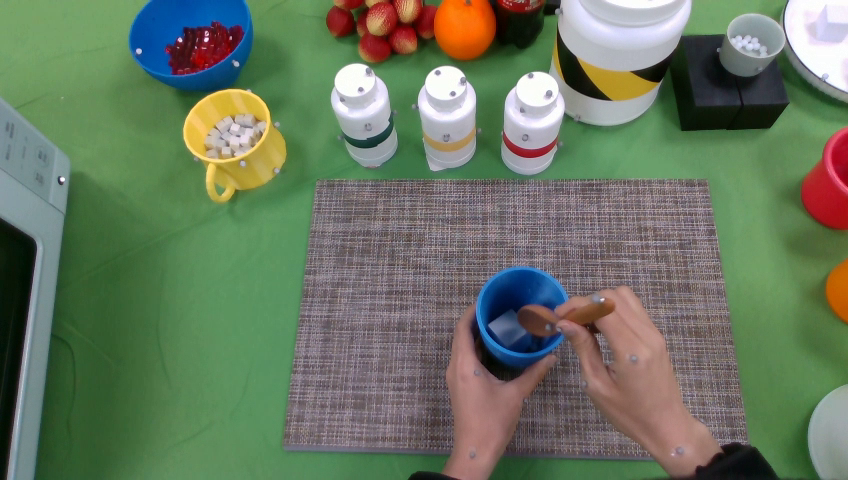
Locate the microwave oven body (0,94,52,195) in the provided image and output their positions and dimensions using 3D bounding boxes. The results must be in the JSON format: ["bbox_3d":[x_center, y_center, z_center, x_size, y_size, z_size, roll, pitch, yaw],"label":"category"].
[{"bbox_3d":[-0.569,0.066,0.547,0.326,0.262,0.438,-9,67,0],"label":"microwave oven body"}]

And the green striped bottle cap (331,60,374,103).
[{"bbox_3d":[-0.075,-0.166,0.634,0.044,0.020,0.044,-1,66,3],"label":"green striped bottle cap"}]

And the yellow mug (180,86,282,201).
[{"bbox_3d":[-0.228,-0.107,0.706,0.100,0.064,0.130,10,69,7],"label":"yellow mug"}]

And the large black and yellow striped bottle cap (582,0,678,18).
[{"bbox_3d":[0.200,-0.265,0.587,0.115,0.019,0.114,-2,66,4],"label":"large black and yellow striped bottle cap"}]

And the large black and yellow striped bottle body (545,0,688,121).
[{"bbox_3d":[0.207,-0.233,0.665,0.131,0.185,0.130,-1,67,4],"label":"large black and yellow striped bottle body"}]

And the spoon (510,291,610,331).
[{"bbox_3d":[0.107,0.059,0.488,0.041,0.194,0.021,34,79,0],"label":"spoon"}]

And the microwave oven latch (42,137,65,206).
[{"bbox_3d":[-0.439,-0.078,0.704,0.030,0.030,0.078,-7,67,1],"label":"microwave oven latch"}]

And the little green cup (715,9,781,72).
[{"bbox_3d":[0.357,-0.219,0.673,0.061,0.039,0.061,-1,66,2],"label":"little green cup"}]

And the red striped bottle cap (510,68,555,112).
[{"bbox_3d":[0.110,-0.153,0.615,0.044,0.018,0.044,0,66,0],"label":"red striped bottle cap"}]

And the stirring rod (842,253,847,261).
[{"bbox_3d":[0.444,0.050,0.553,0.014,0.006,0.175,-6,24,1],"label":"stirring rod"}]

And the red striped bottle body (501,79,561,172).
[{"bbox_3d":[0.116,-0.131,0.663,0.063,0.121,0.062,-3,64,7],"label":"red striped bottle body"}]

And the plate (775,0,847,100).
[{"bbox_3d":[0.527,-0.246,0.727,0.209,0.038,0.207,-1,68,3],"label":"plate"}]

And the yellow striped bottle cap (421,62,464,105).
[{"bbox_3d":[0.019,-0.162,0.626,0.044,0.019,0.044,-1,68,3],"label":"yellow striped bottle cap"}]

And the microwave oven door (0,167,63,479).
[{"bbox_3d":[-0.420,0.081,0.525,0.039,0.245,0.353,-9,67,1],"label":"microwave oven door"}]

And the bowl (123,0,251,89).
[{"bbox_3d":[-0.283,-0.245,0.762,0.151,0.077,0.150,-1,67,3],"label":"bowl"}]

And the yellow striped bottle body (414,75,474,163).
[{"bbox_3d":[0.023,-0.142,0.673,0.063,0.121,0.062,-2,67,5],"label":"yellow striped bottle body"}]

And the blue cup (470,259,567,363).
[{"bbox_3d":[0.091,0.077,0.583,0.092,0.101,0.092,-3,64,8],"label":"blue cup"}]

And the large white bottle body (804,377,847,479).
[{"bbox_3d":[0.414,0.156,0.485,0.130,0.186,0.129,-2,66,4],"label":"large white bottle body"}]

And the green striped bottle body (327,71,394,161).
[{"bbox_3d":[-0.071,-0.145,0.682,0.063,0.120,0.062,-1,67,4],"label":"green striped bottle body"}]

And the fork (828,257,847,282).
[{"bbox_3d":[0.472,0.051,0.545,0.028,0.019,0.205,-34,24,-15],"label":"fork"}]
